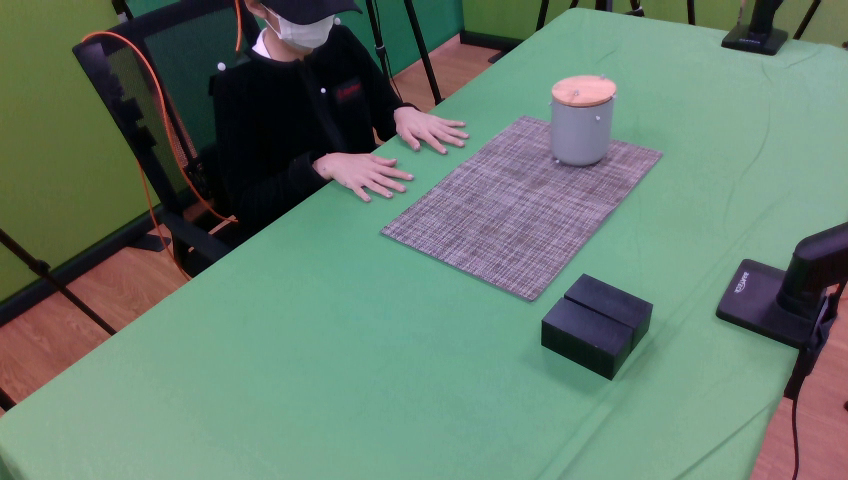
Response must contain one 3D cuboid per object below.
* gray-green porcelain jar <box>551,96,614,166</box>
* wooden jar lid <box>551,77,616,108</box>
[{"bbox_3d":[0.282,-0.206,1.087,0.106,0.127,0.105,-5,40,4],"label":"gray-green porcelain jar"},{"bbox_3d":[0.275,-0.252,1.047,0.108,0.021,0.108,-5,38,4],"label":"wooden jar lid"}]
